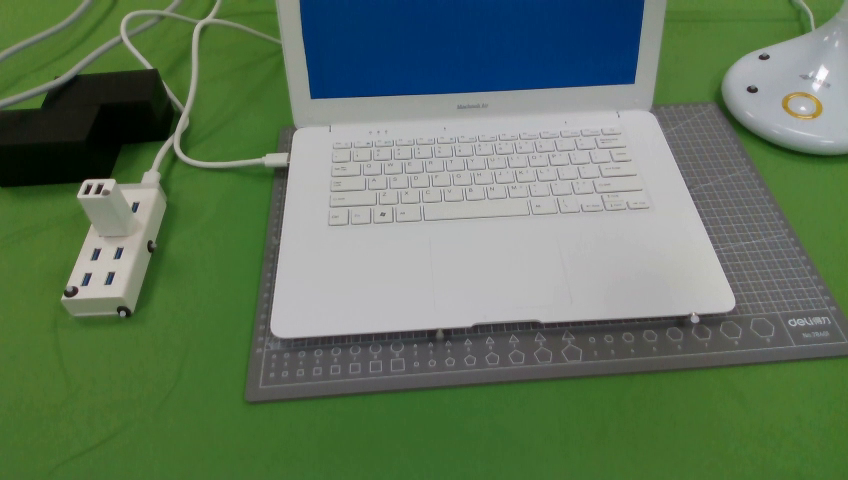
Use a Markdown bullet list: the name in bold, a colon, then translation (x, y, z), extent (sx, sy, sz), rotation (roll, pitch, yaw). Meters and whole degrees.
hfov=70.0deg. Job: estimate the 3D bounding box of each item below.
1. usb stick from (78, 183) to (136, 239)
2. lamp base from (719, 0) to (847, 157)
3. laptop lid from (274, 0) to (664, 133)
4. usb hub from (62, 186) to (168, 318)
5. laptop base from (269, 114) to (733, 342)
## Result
- **usb stick**: translation (-0.251, -0.018, 0.487), extent (0.027, 0.060, 0.021), rotation (-4, 50, 0)
- **lamp base**: translation (0.389, -0.200, 0.567), extent (0.160, 0.182, 0.178), rotation (20, 51, 18)
- **laptop lid**: translation (0.043, -0.213, 0.545), extent (0.357, 0.243, 0.013), rotation (-5, 29, -1)
- **usb hub**: translation (-0.254, 0.007, 0.505), extent (0.049, 0.025, 0.124), rotation (-3, 49, 0)
- **laptop base**: translation (0.054, -0.020, 0.527), extent (0.354, 0.023, 0.233), rotation (-3, 53, -2)
